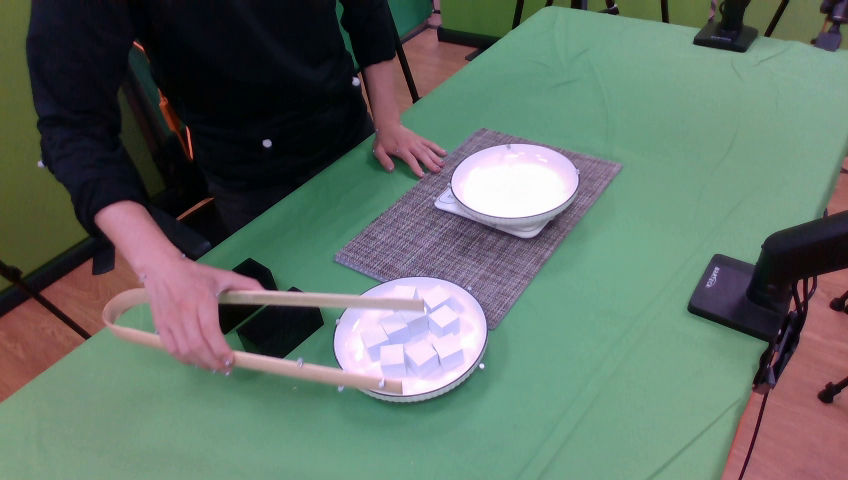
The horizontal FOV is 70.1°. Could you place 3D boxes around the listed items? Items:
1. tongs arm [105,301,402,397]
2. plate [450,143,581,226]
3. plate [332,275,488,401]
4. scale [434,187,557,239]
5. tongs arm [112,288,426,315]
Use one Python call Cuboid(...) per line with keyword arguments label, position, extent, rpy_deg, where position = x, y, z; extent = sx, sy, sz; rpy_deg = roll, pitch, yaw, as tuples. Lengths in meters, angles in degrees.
Cuboid(label="tongs arm", position=(-0.204, 0.123, 0.699), extent=(0.384, 0.026, 0.050), rpy_deg=(7, 46, 12))
Cuboid(label="plate", position=(0.148, -0.087, 0.986), extent=(0.209, 0.038, 0.208), rpy_deg=(-4, 41, 4))
Cuboid(label="plate", position=(-0.017, 0.131, 0.808), extent=(0.207, 0.039, 0.206), rpy_deg=(-4, 41, 4))
Cuboid(label="scale", position=(0.132, -0.075, 1.025), extent=(0.199, 0.032, 0.149), rpy_deg=(22, 48, 30))
Cuboid(label="tongs arm", position=(-0.191, 0.079, 0.744), extent=(0.387, 0.028, 0.028), rpy_deg=(1, 49, 5))
